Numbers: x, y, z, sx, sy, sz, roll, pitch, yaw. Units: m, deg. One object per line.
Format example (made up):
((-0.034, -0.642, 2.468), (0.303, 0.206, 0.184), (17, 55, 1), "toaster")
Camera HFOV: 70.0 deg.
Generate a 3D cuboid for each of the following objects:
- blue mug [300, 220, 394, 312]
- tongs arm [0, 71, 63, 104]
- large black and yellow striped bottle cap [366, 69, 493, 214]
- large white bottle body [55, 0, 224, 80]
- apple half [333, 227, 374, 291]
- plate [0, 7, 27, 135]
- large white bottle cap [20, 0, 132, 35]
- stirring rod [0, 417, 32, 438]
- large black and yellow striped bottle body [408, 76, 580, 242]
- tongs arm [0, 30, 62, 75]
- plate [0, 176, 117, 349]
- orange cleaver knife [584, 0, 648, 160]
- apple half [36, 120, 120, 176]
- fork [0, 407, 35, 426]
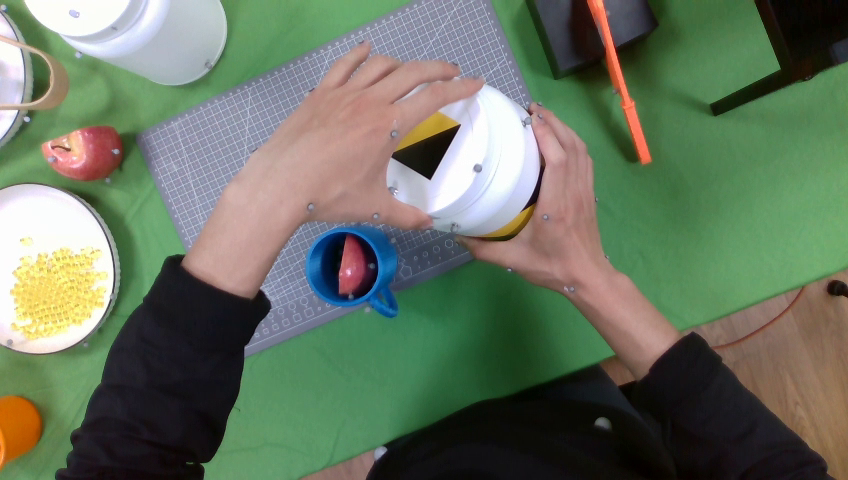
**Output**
((-0.072, 0.032, 0.671), (0.082, 0.106, 0.116), (-39, 91, 6), "blue mug")
((-0.606, -0.181, 0.701), (0.384, 0.026, 0.051), (6, 91, 6), "tongs arm")
((0.001, -0.078, 0.483), (0.114, 0.019, 0.114), (-5, 82, 34), "large black and yellow striped bottle cap")
((-0.307, -0.250, 0.631), (0.130, 0.184, 0.130), (0, 93, 5), "large white bottle body")
((-0.071, 0.022, 0.665), (0.032, 0.081, 0.081), (11, 95, 11), "apple half")
((-0.572, -0.205, 0.728), (0.207, 0.039, 0.208), (0, 94, 4), "plate")
((-0.315, -0.245, 0.547), (0.115, 0.018, 0.115), (0, 94, 5), "large white bottle cap")
((-0.560, 0.247, 0.707), (0.177, 0.006, 0.014), (-17, 80, -35), "stirring rod")
((0.050, -0.070, 0.552), (0.130, 0.185, 0.130), (-4, 82, 34), "large black and yellow striped bottle body")
((-0.591, -0.264, 0.696), (0.387, 0.028, 0.028), (20, 89, 5), "tongs arm")
((-0.469, 0.027, 0.737), (0.209, 0.038, 0.209), (0, 95, 5), "plate")
((0.201, -0.185, 0.648), (0.012, 0.076, 0.213), (-21, 119, 14), "orange cleaver knife")
((-0.395, -0.102, 0.705), (0.081, 0.074, 0.053), (-19, 96, 2), "apple half")
((-0.576, 0.232, 0.704), (0.208, 0.018, 0.028), (-8, 93, -38), "fork")
